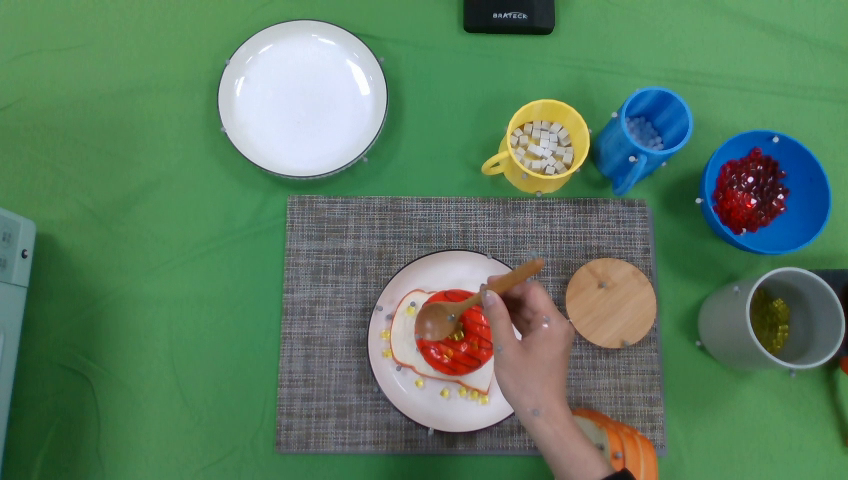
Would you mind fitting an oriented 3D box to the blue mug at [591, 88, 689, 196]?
[{"bbox_3d":[0.250,-0.107,0.726,0.082,0.106,0.116,21,78,3],"label":"blue mug"}]

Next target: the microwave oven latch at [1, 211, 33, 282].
[{"bbox_3d":[-0.469,0.007,0.688,0.030,0.029,0.079,4,79,-2],"label":"microwave oven latch"}]

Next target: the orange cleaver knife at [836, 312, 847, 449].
[{"bbox_3d":[0.503,0.143,0.697,0.012,0.076,0.212,-2,108,-1],"label":"orange cleaver knife"}]

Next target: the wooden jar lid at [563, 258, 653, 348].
[{"bbox_3d":[0.219,0.076,0.727,0.108,0.021,0.108,0,79,-2],"label":"wooden jar lid"}]

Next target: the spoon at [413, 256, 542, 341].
[{"bbox_3d":[0.047,0.059,0.587,0.022,0.194,0.041,-23,81,-39],"label":"spoon"}]

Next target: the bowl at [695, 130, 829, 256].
[{"bbox_3d":[0.392,-0.048,0.733,0.151,0.077,0.150,0,79,-2],"label":"bowl"}]

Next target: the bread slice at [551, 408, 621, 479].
[{"bbox_3d":[0.168,0.236,0.639,0.018,0.134,0.106,8,76,-9],"label":"bread slice"}]

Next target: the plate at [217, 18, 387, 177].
[{"bbox_3d":[-0.150,-0.174,0.757,0.208,0.039,0.206,1,79,-2],"label":"plate"}]

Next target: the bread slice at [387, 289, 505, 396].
[{"bbox_3d":[0.022,0.114,0.704,0.131,0.019,0.104,15,77,-1],"label":"bread slice"}]

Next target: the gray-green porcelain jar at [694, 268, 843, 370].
[{"bbox_3d":[0.375,0.093,0.680,0.106,0.127,0.105,1,78,-2],"label":"gray-green porcelain jar"}]

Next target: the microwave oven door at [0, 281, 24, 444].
[{"bbox_3d":[-0.474,0.200,0.545,0.039,0.244,0.354,1,78,-2],"label":"microwave oven door"}]

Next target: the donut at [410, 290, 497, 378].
[{"bbox_3d":[0.033,0.104,0.675,0.099,0.048,0.098,-1,74,3],"label":"donut"}]

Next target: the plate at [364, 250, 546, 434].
[{"bbox_3d":[0.035,0.115,0.702,0.209,0.038,0.208,1,78,-2],"label":"plate"}]

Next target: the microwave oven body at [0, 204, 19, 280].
[{"bbox_3d":[-0.619,0.155,0.554,0.326,0.261,0.439,2,79,-2],"label":"microwave oven body"}]

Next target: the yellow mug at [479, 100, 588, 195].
[{"bbox_3d":[0.128,-0.106,0.741,0.131,0.064,0.099,-20,79,-5],"label":"yellow mug"}]
